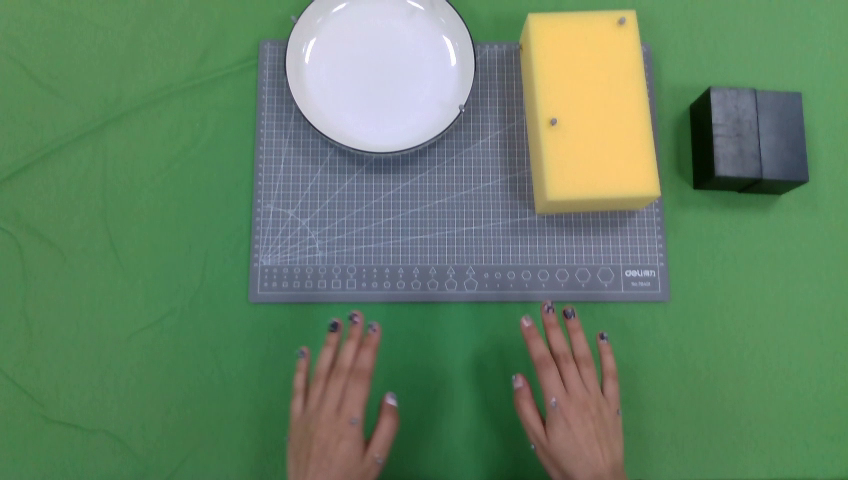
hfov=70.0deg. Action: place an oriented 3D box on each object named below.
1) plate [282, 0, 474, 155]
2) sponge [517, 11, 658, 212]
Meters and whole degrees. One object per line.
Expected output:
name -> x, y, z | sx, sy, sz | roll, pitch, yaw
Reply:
plate -> -0.049, -0.189, 0.672 | 0.209, 0.038, 0.208 | 0, 80, -2
sponge -> 0.173, -0.138, 0.658 | 0.118, 0.061, 0.206 | -4, 79, -2
